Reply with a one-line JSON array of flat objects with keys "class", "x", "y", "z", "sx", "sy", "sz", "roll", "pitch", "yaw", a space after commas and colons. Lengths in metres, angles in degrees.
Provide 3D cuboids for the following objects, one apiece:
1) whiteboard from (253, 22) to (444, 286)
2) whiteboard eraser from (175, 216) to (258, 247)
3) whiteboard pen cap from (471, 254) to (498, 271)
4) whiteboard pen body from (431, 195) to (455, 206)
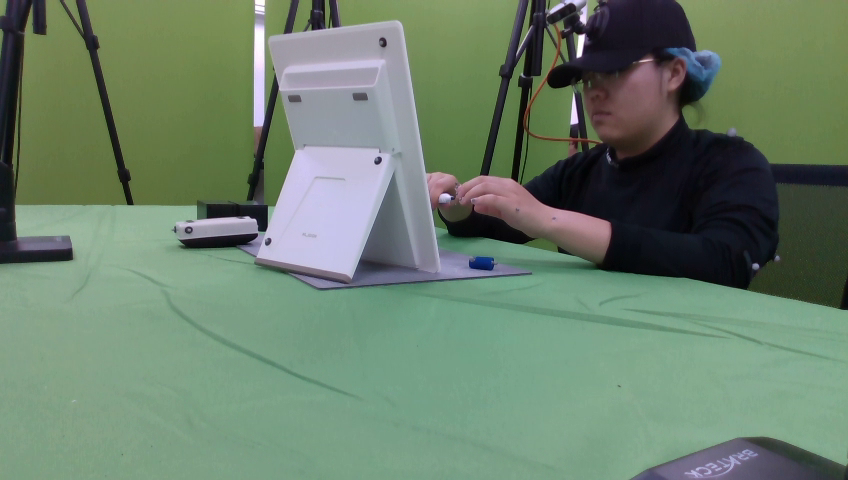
[{"class": "whiteboard", "x": -0.125, "y": -0.081, "z": 0.715, "sx": 0.216, "sy": 0.305, "sz": 0.144, "roll": 9, "pitch": 29, "yaw": 36}, {"class": "whiteboard eraser", "x": -0.314, "y": -0.012, "z": 0.915, "sx": 0.113, "sy": 0.042, "sz": 0.055, "roll": -5, "pitch": 12, "yaw": -30}, {"class": "whiteboard pen cap", "x": 0.081, "y": 0.031, "z": 0.799, "sx": 0.033, "sy": 0.018, "sz": 0.018, "roll": 18, "pitch": 3, "yaw": -16}, {"class": "whiteboard pen body", "x": 0.015, "y": -0.066, "z": 0.995, "sx": 0.017, "sy": 0.017, "sz": 0.140, "roll": -1, "pitch": 8, "yaw": -28}]
